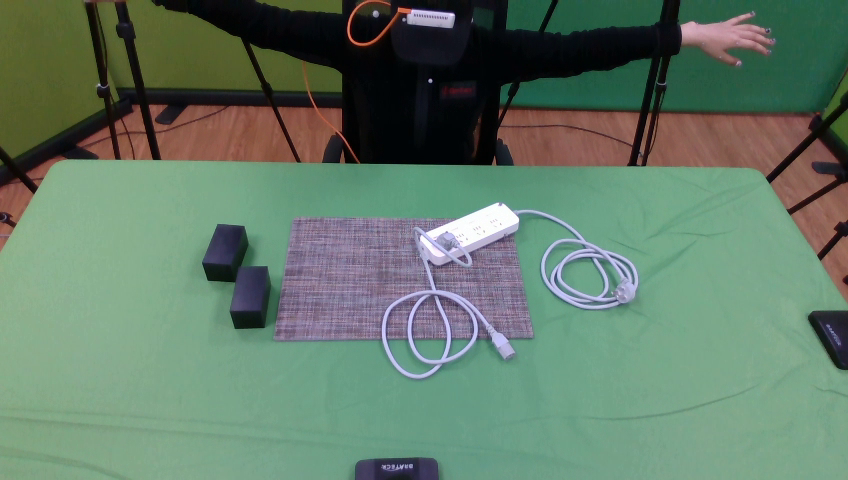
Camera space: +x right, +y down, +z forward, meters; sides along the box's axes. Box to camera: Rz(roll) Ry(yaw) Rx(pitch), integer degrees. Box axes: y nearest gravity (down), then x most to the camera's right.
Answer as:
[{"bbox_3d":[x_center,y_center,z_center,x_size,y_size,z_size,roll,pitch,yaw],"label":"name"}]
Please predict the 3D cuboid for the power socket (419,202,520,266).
[{"bbox_3d":[0.093,-0.014,1.204,0.227,0.033,0.072,-23,52,-24],"label":"power socket"}]

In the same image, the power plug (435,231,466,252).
[{"bbox_3d":[0.047,0.015,1.141,0.035,0.053,0.072,-13,47,-17],"label":"power plug"}]
